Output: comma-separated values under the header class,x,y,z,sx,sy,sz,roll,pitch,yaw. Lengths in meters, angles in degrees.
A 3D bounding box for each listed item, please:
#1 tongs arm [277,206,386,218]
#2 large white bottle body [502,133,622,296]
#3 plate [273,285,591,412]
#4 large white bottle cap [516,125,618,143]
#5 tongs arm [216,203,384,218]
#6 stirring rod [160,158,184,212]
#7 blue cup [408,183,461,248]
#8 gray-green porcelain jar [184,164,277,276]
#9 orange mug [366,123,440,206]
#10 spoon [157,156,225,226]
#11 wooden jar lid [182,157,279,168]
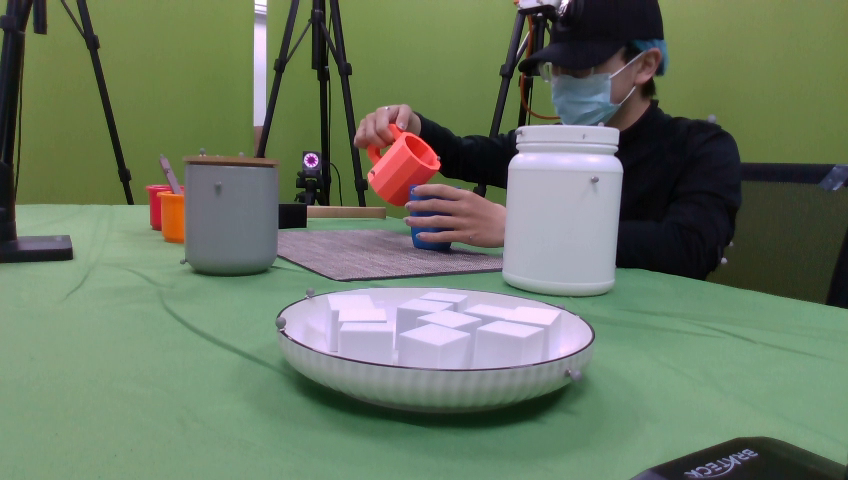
class,x,y,z,sx,sy,sz,roll,pitch,yaw
tongs arm,-0.252,-0.062,1.360,0.387,0.026,0.050,-1,3,-31
large white bottle body,0.160,-0.037,0.706,0.131,0.184,0.130,2,7,0
plate,0.005,0.069,0.408,0.208,0.039,0.207,2,7,0
large white bottle cap,0.163,-0.120,0.695,0.115,0.018,0.115,2,8,0
tongs arm,-0.288,-0.069,1.435,0.389,0.027,0.028,0,-1,-18
stirring rod,-0.391,-0.070,0.972,0.014,0.006,0.175,-2,50,-48
blue cup,0.015,-0.039,0.972,0.093,0.100,0.092,2,6,0
gray-green porcelain jar,-0.230,-0.025,0.722,0.106,0.126,0.106,3,7,0
orange mug,-0.045,-0.136,1.032,0.100,0.126,0.084,-40,-16,29
spoon,-0.425,-0.094,1.117,0.041,0.022,0.194,4,51,29
wooden jar lid,-0.227,-0.086,0.714,0.108,0.020,0.108,1,6,0
